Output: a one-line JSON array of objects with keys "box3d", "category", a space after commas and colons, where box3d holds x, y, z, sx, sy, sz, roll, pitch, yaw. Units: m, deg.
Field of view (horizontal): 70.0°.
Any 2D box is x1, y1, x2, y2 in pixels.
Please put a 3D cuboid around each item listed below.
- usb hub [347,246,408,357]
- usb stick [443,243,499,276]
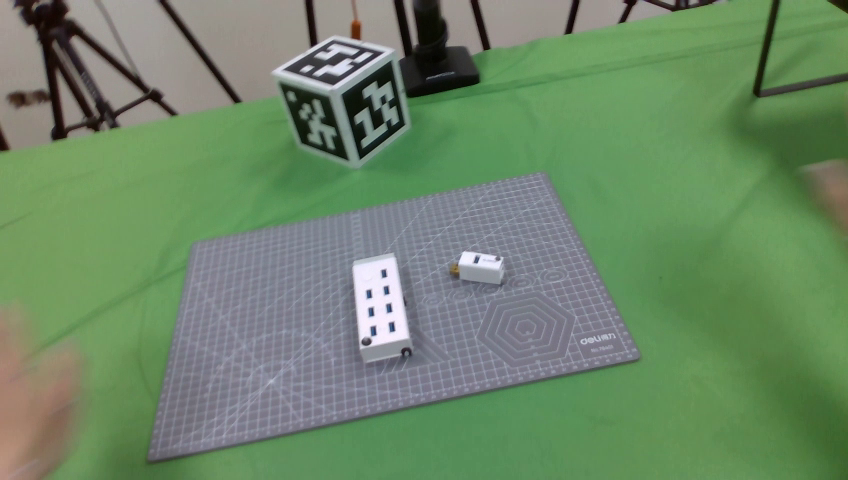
[{"box3d": [-0.050, 0.059, 0.617, 0.049, 0.025, 0.123, -13, 43, -1], "category": "usb hub"}, {"box3d": [0.048, 0.020, 0.636, 0.059, 0.027, 0.021, 5, 46, 20], "category": "usb stick"}]
